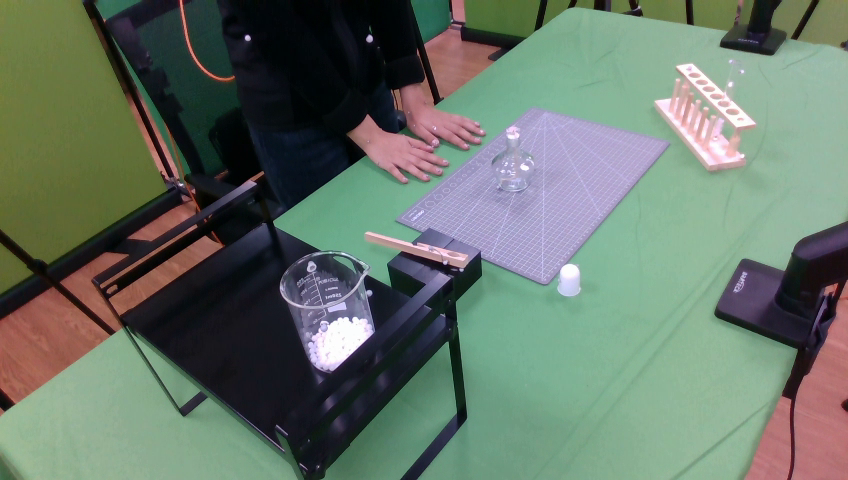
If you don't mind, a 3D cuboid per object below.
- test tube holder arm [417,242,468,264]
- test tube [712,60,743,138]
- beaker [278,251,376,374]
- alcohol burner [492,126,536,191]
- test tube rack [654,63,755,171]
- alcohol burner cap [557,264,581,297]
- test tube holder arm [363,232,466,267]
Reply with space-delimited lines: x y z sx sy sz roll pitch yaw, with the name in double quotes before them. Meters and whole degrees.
"test tube holder arm" 0.024 0.020 0.874 0.087 0.015 0.010 14 28 29
"test tube" 0.527 -0.242 1.052 0.017 0.151 0.017 -3 44 3
"beaker" -0.084 0.070 0.570 0.084 0.101 0.073 -18 42 -13
"alcohol burner" 0.155 -0.146 1.046 0.078 0.119 0.077 -4 43 4
"test tube rack" 0.510 -0.233 1.120 0.067 0.085 0.241 -8 41 -1
"alcohol burner cap" 0.208 0.055 0.866 0.034 0.048 0.033 -4 42 4
"test tube holder arm" -0.018 0.012 0.891 0.177 0.015 0.013 13 27 28
